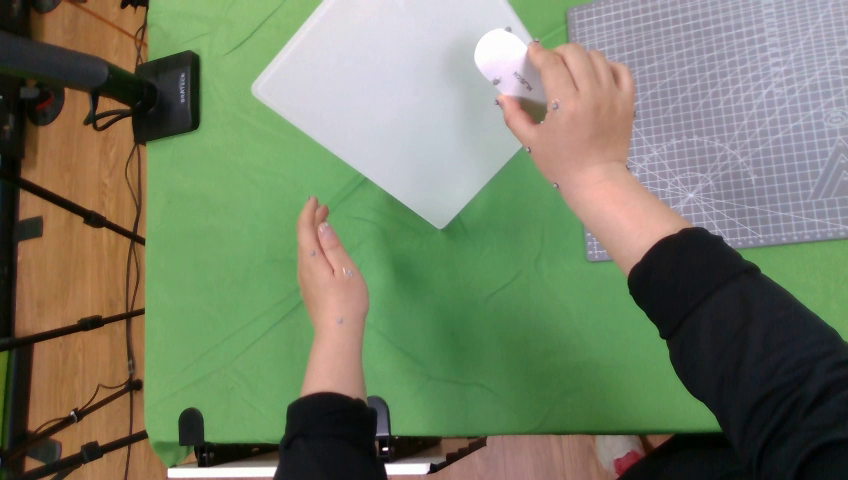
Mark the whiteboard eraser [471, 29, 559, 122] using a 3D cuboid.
[{"bbox_3d":[0.080,-0.142,0.527,0.041,0.102,0.018,-44,37,15],"label":"whiteboard eraser"}]

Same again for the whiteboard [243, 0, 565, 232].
[{"bbox_3d":[-0.027,-0.183,0.640,0.217,0.309,0.142,-46,50,9],"label":"whiteboard"}]
